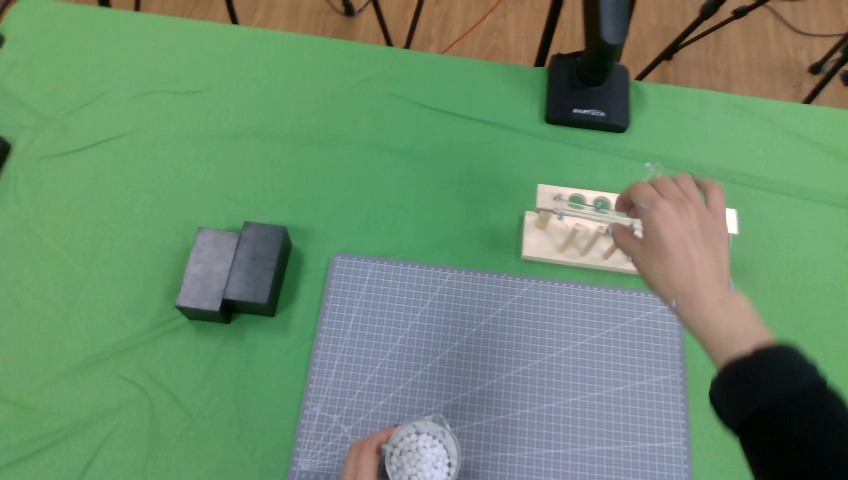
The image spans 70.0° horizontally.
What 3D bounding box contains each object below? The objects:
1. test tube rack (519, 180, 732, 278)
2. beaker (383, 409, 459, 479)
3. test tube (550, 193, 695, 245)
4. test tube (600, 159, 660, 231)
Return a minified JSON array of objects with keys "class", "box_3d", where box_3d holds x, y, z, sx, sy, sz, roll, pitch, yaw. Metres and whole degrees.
[{"class":"test tube rack","box_3d":[0.249,-0.012,0.765,0.242,0.086,0.066,7,66,0]},{"class":"beaker","box_3d":[-0.004,0.224,0.634,0.074,0.101,0.083,21,66,5]},{"class":"test tube","box_3d":[0.187,-0.022,0.585,0.149,0.017,0.017,21,62,40]},{"class":"test tube","box_3d":[0.243,-0.049,0.727,0.017,0.151,0.017,3,63,-5]}]
